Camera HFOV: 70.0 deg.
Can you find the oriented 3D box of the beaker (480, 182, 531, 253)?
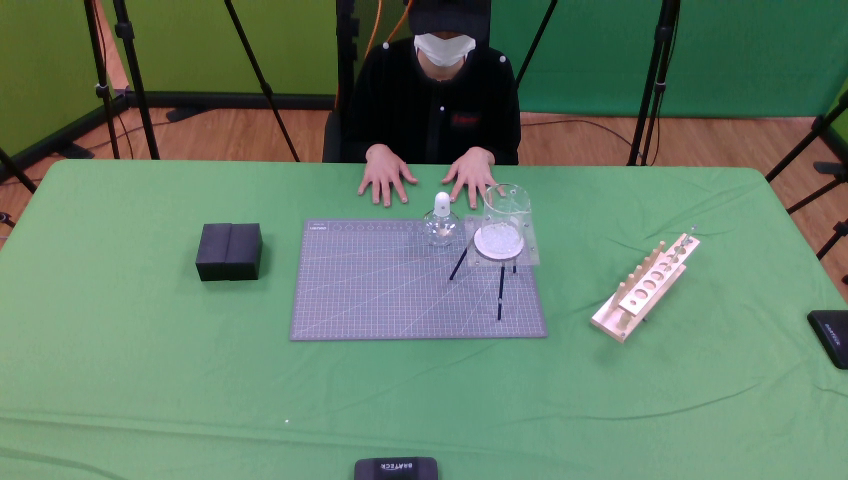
[{"bbox_3d":[0.133,-0.033,0.998,0.083,0.101,0.074,26,51,22],"label":"beaker"}]

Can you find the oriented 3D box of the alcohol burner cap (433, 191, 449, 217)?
[{"bbox_3d":[0.033,-0.070,1.150,0.034,0.048,0.033,0,45,0],"label":"alcohol burner cap"}]

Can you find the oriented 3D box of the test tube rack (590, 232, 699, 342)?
[{"bbox_3d":[0.407,0.074,1.112,0.066,0.085,0.242,35,53,26],"label":"test tube rack"}]

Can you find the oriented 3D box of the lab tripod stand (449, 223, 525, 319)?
[{"bbox_3d":[0.120,0.046,1.080,0.148,0.132,0.147,1,47,-1],"label":"lab tripod stand"}]

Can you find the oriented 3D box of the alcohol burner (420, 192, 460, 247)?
[{"bbox_3d":[0.032,-0.045,1.176,0.078,0.120,0.077,2,44,-1],"label":"alcohol burner"}]

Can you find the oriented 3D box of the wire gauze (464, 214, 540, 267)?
[{"bbox_3d":[0.131,-0.001,1.035,0.121,0.011,0.124,1,44,-2],"label":"wire gauze"}]

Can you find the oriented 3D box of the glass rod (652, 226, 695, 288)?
[{"bbox_3d":[0.432,0.037,1.057,0.008,0.200,0.008,1,54,-1],"label":"glass rod"}]
